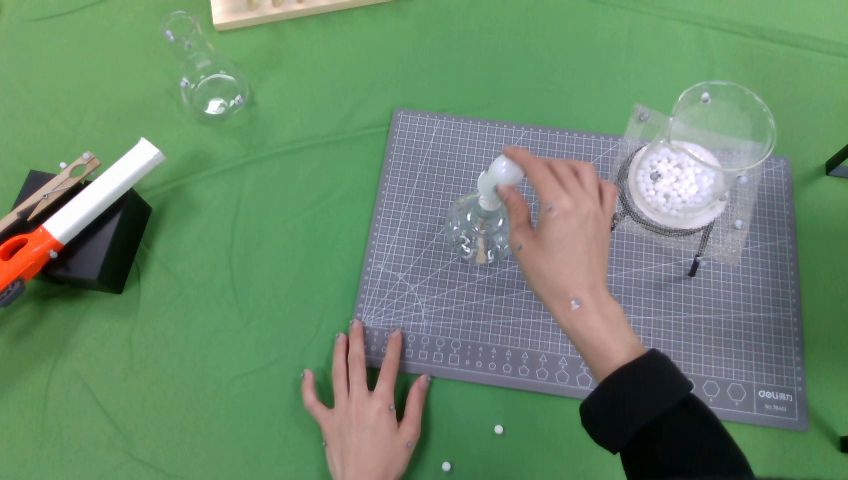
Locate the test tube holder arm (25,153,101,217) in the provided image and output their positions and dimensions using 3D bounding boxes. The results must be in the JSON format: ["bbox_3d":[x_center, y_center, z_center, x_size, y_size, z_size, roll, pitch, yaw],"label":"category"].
[{"bbox_3d":[-0.361,-0.054,0.602,0.088,0.015,0.010,-43,105,-14],"label":"test tube holder arm"}]

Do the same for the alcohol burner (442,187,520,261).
[{"bbox_3d":[0.058,-0.024,0.591,0.078,0.120,0.077,1,68,-1],"label":"alcohol burner"}]

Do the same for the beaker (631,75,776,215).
[{"bbox_3d":[0.208,-0.067,0.475,0.084,0.101,0.073,-14,71,-5],"label":"beaker"}]

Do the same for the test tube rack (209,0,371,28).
[{"bbox_3d":[-0.145,-0.328,0.721,0.242,0.086,0.066,-12,70,-5],"label":"test tube rack"}]

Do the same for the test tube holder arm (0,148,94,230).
[{"bbox_3d":[-0.396,-0.028,0.589,0.178,0.015,0.013,-44,105,-14],"label":"test tube holder arm"}]

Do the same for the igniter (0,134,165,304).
[{"bbox_3d":[-0.366,-0.001,0.580,0.057,0.025,0.276,36,73,22],"label":"igniter"}]

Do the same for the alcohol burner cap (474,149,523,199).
[{"bbox_3d":[0.064,-0.057,0.503,0.034,0.048,0.033,5,69,-12],"label":"alcohol burner cap"}]

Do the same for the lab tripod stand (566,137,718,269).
[{"bbox_3d":[0.213,-0.026,0.582,0.148,0.132,0.147,1,69,-1],"label":"lab tripod stand"}]

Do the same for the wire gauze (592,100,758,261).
[{"bbox_3d":[0.220,-0.053,0.521,0.121,0.011,0.124,21,69,5],"label":"wire gauze"}]

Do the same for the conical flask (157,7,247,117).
[{"bbox_3d":[-0.244,-0.194,0.652,0.075,0.122,0.075,0,69,1],"label":"conical flask"}]
